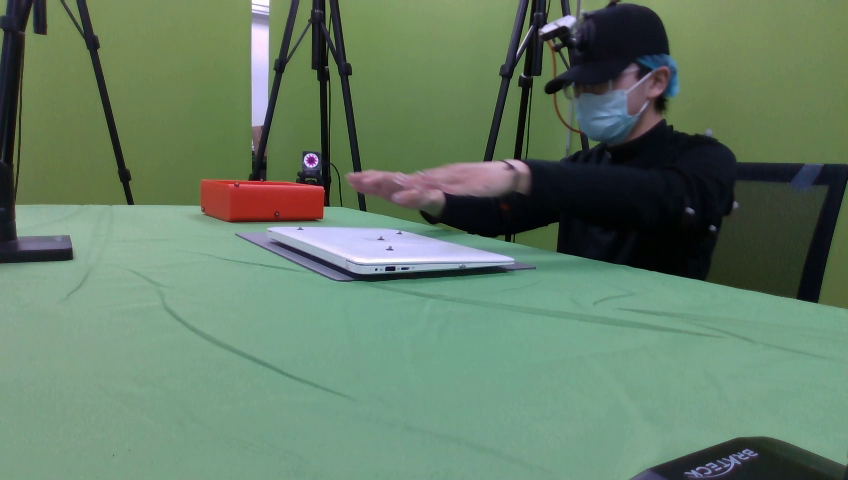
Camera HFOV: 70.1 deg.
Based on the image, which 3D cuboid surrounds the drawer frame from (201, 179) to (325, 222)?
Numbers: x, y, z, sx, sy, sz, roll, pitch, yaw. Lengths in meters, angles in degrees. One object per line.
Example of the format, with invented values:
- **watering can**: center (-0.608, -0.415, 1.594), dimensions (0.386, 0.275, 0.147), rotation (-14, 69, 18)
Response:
- **drawer frame**: center (-0.362, -0.092, 1.356), dimensions (0.215, 0.082, 0.200), rotation (-4, 10, -37)

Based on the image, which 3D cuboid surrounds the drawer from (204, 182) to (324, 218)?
- **drawer**: center (-0.360, -0.092, 1.358), dimensions (0.213, 0.073, 0.193), rotation (-3, 10, -36)

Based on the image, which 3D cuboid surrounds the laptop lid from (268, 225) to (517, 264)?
- **laptop lid**: center (-0.063, 0.002, 0.877), dimensions (0.243, 0.013, 0.355), rotation (1, 7, -30)

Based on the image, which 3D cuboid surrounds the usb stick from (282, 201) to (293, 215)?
- **usb stick**: center (-0.309, -0.072, 1.367), dimensions (0.021, 0.027, 0.059), rotation (6, 6, -14)

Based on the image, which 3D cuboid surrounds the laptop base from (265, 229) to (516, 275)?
- **laptop base**: center (-0.065, 0.014, 0.877), dimensions (0.237, 0.023, 0.352), rotation (2, 7, -32)
